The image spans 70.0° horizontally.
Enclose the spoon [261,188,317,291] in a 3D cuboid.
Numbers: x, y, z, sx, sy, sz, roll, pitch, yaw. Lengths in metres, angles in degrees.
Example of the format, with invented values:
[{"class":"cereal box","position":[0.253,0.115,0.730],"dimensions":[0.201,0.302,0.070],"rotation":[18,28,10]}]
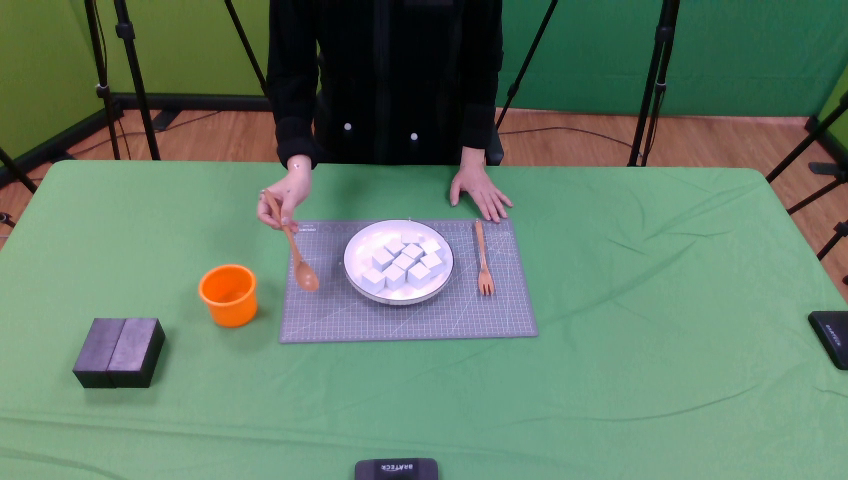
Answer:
[{"class":"spoon","position":[-0.232,0.000,1.037],"dimensions":[0.021,0.194,0.041],"rotation":[-9,16,43]}]

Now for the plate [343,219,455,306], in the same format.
[{"class":"plate","position":[-0.047,0.045,1.136],"dimensions":[0.208,0.039,0.206],"rotation":[2,46,-2]}]

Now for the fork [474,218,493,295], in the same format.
[{"class":"fork","position":[0.112,0.029,1.177],"dimensions":[0.028,0.019,0.206],"rotation":[-3,48,0]}]
